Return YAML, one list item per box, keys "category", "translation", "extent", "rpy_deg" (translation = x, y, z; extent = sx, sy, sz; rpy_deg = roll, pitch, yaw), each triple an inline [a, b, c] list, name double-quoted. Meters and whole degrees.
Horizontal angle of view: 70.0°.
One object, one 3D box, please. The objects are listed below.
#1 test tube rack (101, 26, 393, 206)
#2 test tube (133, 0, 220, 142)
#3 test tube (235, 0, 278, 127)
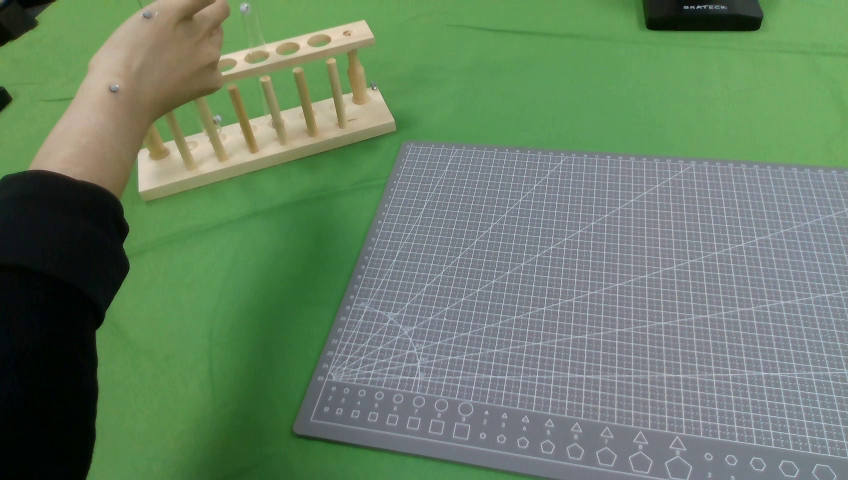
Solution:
- category: "test tube rack"
  translation: [-0.158, -0.117, 0.566]
  extent: [0.242, 0.086, 0.066]
  rpy_deg: [-18, 48, -9]
- category: "test tube"
  translation: [-0.200, -0.140, 0.492]
  extent: [0.017, 0.152, 0.017]
  rpy_deg: [-4, 50, 5]
- category: "test tube"
  translation: [-0.151, -0.170, 0.544]
  extent: [0.017, 0.151, 0.017]
  rpy_deg: [-1, 40, 1]
